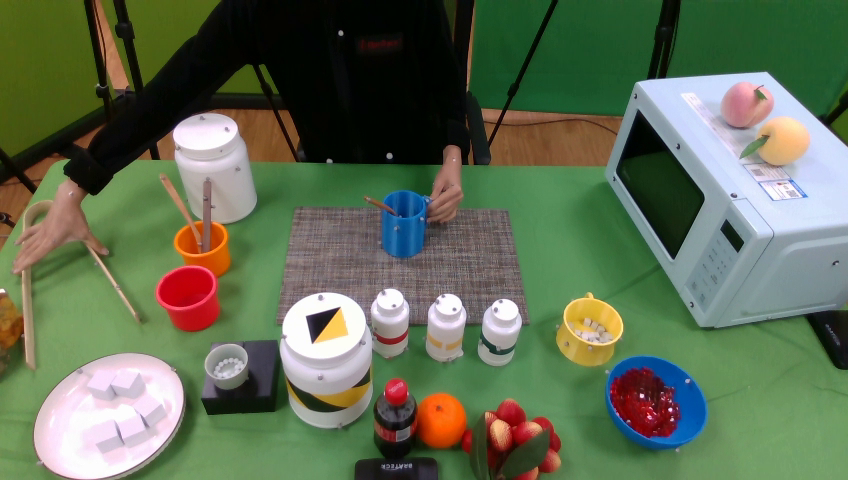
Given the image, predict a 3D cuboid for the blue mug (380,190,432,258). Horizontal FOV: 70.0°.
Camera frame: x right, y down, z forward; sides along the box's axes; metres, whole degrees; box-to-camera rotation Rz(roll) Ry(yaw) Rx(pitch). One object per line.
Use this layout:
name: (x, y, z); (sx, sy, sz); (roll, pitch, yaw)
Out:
blue mug: (-0.030, -0.038, 1.169); (0.116, 0.106, 0.082); (-29, 55, -28)

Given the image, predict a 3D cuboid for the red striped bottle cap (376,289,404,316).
red striped bottle cap: (-0.054, 0.098, 0.958); (0.044, 0.018, 0.044); (0, 47, 1)

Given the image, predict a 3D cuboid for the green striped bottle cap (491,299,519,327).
green striped bottle cap: (0.128, 0.115, 0.958); (0.044, 0.020, 0.044); (1, 46, -1)

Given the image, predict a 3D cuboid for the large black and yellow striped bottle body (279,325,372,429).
large black and yellow striped bottle body: (-0.143, 0.181, 0.900); (0.131, 0.185, 0.130); (2, 46, -2)

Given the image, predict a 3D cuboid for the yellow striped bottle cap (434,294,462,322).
yellow striped bottle cap: (0.038, 0.107, 0.958); (0.044, 0.019, 0.044); (2, 45, -2)

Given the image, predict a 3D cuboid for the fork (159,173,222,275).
fork: (-0.427, -0.029, 1.103); (0.028, 0.018, 0.207); (-31, 99, -30)

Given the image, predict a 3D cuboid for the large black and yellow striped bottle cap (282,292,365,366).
large black and yellow striped bottle cap: (-0.138, 0.121, 0.841); (0.115, 0.019, 0.114); (3, 47, -3)

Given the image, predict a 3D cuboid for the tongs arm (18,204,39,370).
tongs arm: (-0.698, 0.069, 1.069); (0.028, 0.028, 0.385); (-20, 51, -13)

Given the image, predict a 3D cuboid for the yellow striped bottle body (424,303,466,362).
yellow striped bottle body: (0.035, 0.143, 0.995); (0.063, 0.121, 0.062); (3, 46, -3)

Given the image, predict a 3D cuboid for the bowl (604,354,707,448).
bowl: (0.346, 0.261, 0.937); (0.151, 0.077, 0.150); (2, 46, -2)

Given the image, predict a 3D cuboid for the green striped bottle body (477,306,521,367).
green striped bottle body: (0.124, 0.151, 0.995); (0.063, 0.120, 0.063); (2, 46, -2)

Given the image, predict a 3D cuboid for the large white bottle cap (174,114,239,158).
large white bottle cap: (-0.403, -0.195, 1.122); (0.115, 0.018, 0.114); (2, 47, -2)

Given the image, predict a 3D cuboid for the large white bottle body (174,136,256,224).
large white bottle body: (-0.407, -0.136, 1.183); (0.131, 0.185, 0.130); (2, 46, -2)

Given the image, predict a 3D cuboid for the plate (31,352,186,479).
plate: (-0.459, 0.262, 0.898); (0.209, 0.038, 0.208); (2, 45, -2)

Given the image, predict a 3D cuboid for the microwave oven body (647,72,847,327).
microwave oven body: (0.607, -0.089, 1.164); (0.326, 0.261, 0.438); (-7, 46, -10)

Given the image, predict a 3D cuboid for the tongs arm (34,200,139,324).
tongs arm: (-0.622, 0.034, 1.105); (0.051, 0.026, 0.382); (-32, 56, -25)

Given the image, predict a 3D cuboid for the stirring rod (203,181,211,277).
stirring rod: (-0.396, -0.021, 1.107); (0.014, 0.006, 0.176); (-1, 89, 0)

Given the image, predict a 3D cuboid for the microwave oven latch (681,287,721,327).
microwave oven latch: (0.494, 0.119, 1.087); (0.030, 0.029, 0.078); (-6, 46, -9)

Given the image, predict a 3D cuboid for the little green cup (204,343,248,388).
little green cup: (-0.294, 0.190, 0.909); (0.061, 0.039, 0.061); (1, 48, -1)

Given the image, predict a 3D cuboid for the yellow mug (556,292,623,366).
yellow mug: (0.285, 0.145, 1.051); (0.100, 0.064, 0.130); (7, 45, 4)

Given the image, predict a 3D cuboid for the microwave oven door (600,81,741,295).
microwave oven door: (0.454, -0.107, 1.161); (0.039, 0.245, 0.353); (-6, 47, -11)

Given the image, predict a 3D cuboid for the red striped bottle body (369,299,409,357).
red striped bottle body: (-0.058, 0.134, 0.997); (0.063, 0.120, 0.062); (4, 47, -4)

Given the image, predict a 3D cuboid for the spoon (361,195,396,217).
spoon: (-0.066, -0.050, 1.118); (0.021, 0.195, 0.041); (-48, 61, 1)
